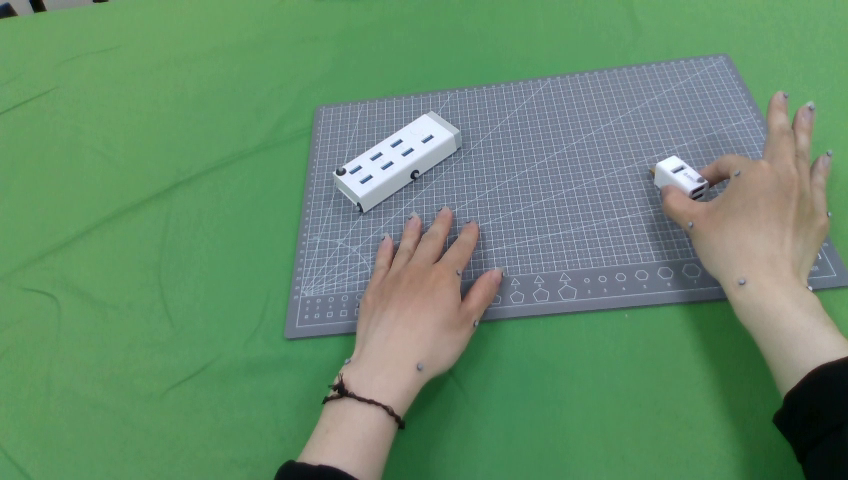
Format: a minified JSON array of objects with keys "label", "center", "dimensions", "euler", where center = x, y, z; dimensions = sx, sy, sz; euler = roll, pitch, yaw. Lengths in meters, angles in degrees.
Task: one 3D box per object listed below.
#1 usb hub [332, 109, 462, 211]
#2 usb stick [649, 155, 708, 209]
[{"label":"usb hub","center":[-0.025,-0.081,0.596],"dimensions":[0.125,0.025,0.049],"euler":[-35,55,-18]},{"label":"usb stick","center":[0.220,-0.055,0.530],"dimensions":[0.021,0.027,0.058],"euler":[-26,41,-6]}]
